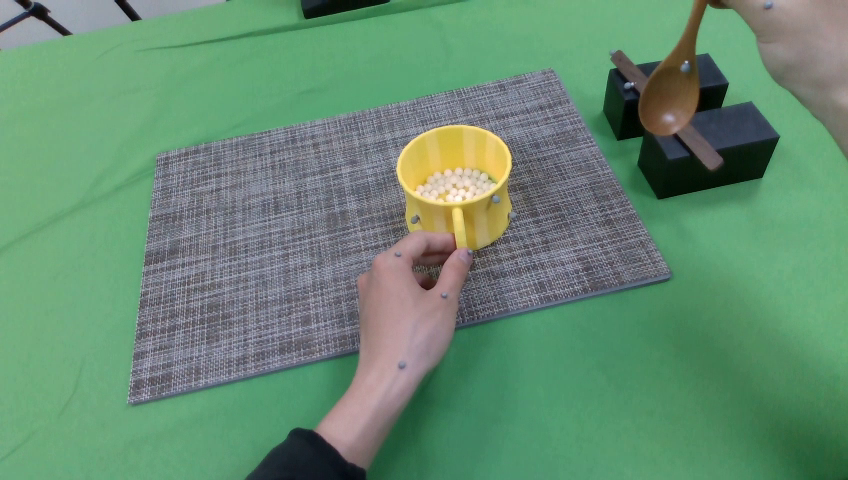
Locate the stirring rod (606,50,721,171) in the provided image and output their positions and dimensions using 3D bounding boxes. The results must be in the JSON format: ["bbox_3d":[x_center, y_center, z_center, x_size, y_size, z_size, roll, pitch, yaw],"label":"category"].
[{"bbox_3d":[0.213,-0.123,0.552,0.014,0.006,0.174,-40,49,21],"label":"stirring rod"}]

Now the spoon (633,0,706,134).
[{"bbox_3d":[0.180,-0.154,0.399,0.041,0.195,0.021,21,51,18],"label":"spoon"}]

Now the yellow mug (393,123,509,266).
[{"bbox_3d":[0.027,-0.036,0.531,0.100,0.064,0.129,-7,52,3],"label":"yellow mug"}]
